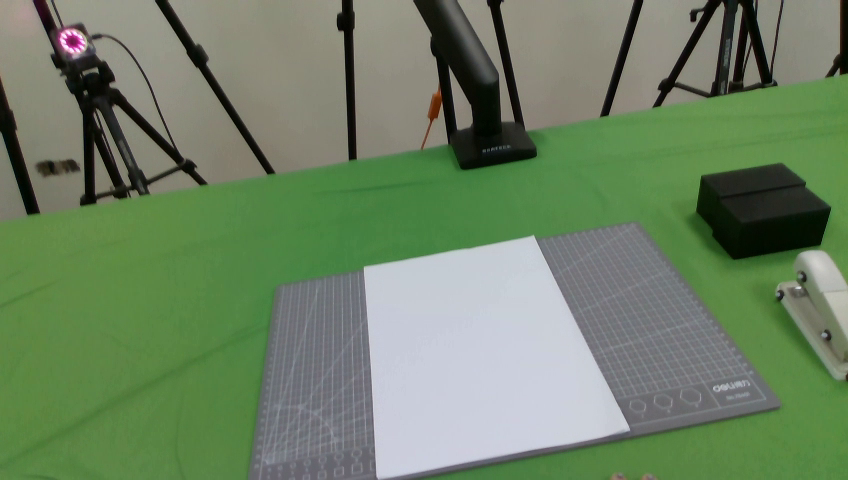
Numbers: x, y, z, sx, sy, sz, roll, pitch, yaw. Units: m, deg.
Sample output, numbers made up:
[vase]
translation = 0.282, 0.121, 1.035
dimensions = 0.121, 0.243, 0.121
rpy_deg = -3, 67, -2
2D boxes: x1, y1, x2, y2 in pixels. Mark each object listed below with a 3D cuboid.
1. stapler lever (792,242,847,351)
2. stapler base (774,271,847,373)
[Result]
[stapler lever]
translation = 0.372, 0.048, 0.549
dimensions = 0.027, 0.040, 0.117
rpy_deg = -7, 37, 6
[stapler base]
translation = 0.374, 0.067, 0.565
dimensions = 0.041, 0.025, 0.129
rpy_deg = -7, 37, 6
